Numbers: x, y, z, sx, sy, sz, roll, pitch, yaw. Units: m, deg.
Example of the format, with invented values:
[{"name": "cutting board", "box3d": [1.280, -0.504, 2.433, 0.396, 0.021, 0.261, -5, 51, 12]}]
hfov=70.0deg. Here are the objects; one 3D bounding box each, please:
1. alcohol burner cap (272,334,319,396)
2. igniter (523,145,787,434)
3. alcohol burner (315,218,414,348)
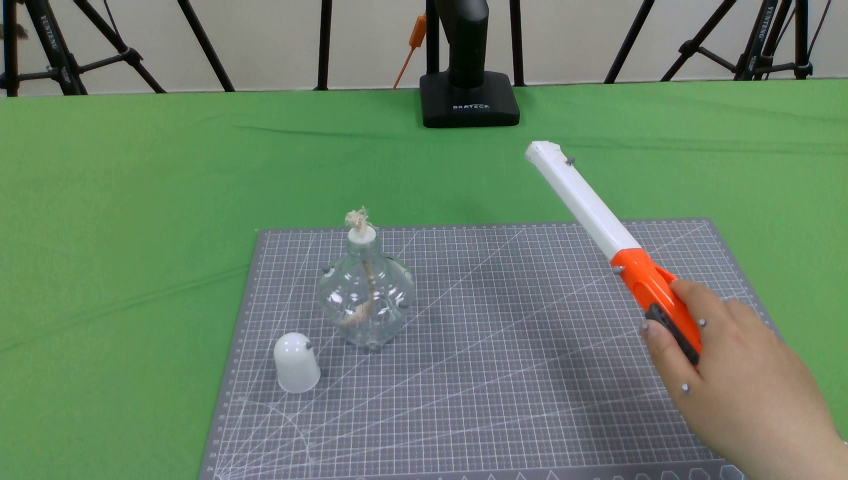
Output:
[{"name": "alcohol burner cap", "box3d": [-0.097, 0.090, 0.453, 0.034, 0.048, 0.033, 1, 42, 0]}, {"name": "igniter", "box3d": [0.157, 0.022, 0.449, 0.057, 0.025, 0.273, -3, 47, -35]}, {"name": "alcohol burner", "box3d": [-0.046, 0.029, 0.470, 0.078, 0.120, 0.077, 2, 43, -1]}]
